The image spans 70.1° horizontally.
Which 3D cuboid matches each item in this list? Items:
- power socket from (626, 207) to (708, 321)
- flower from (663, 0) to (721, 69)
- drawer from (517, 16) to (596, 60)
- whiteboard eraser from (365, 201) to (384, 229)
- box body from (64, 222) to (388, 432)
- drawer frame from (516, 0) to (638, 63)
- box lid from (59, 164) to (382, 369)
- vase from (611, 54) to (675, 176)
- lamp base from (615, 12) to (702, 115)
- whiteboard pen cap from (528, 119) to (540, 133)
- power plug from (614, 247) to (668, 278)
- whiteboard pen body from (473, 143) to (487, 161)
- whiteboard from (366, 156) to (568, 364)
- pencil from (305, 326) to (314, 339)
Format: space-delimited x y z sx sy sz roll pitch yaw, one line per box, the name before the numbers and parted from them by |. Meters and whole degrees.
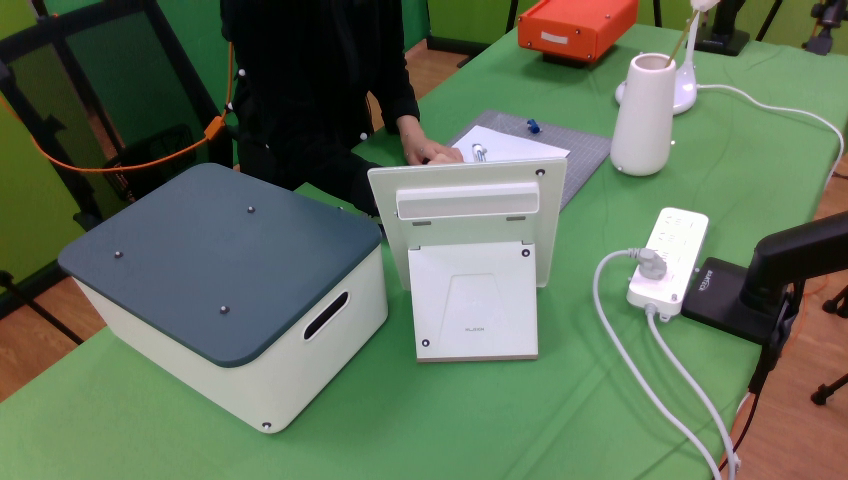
power socket | 0.359 0.025 0.886 0.072 0.033 0.227 16 46 26
flower | 0.379 -0.261 0.965 0.044 0.362 0.038 20 53 5
drawer | 0.352 -0.506 1.405 0.193 0.073 0.212 23 49 32
whiteboard eraser | -0.038 -0.038 1.006 0.112 0.042 0.055 17 47 25
box body | -0.256 0.065 0.827 0.361 0.161 0.255 20 48 29
drawer frame | 0.355 -0.508 1.410 0.200 0.083 0.214 23 51 32
box lid | -0.263 0.010 0.777 0.368 0.015 0.264 20 47 29
vase | 0.377 -0.209 1.031 0.098 0.201 0.097 -3 40 3
lamp base | 0.484 -0.364 1.211 0.180 0.181 0.159 -15 41 -14
whiteboard pen cap | 0.221 -0.229 1.211 0.018 0.018 0.033 -13 40 -7
power plug | 0.306 0.031 0.851 0.072 0.053 0.035 24 49 33
whiteboard pen body | 0.080 -0.078 0.786 0.017 0.017 0.140 -7 48 0
whiteboard | 0.059 0.050 0.738 0.217 0.307 0.143 -2 60 6
pencil | -0.187 0.106 0.880 0.012 0.012 0.192 -27 41 -22
